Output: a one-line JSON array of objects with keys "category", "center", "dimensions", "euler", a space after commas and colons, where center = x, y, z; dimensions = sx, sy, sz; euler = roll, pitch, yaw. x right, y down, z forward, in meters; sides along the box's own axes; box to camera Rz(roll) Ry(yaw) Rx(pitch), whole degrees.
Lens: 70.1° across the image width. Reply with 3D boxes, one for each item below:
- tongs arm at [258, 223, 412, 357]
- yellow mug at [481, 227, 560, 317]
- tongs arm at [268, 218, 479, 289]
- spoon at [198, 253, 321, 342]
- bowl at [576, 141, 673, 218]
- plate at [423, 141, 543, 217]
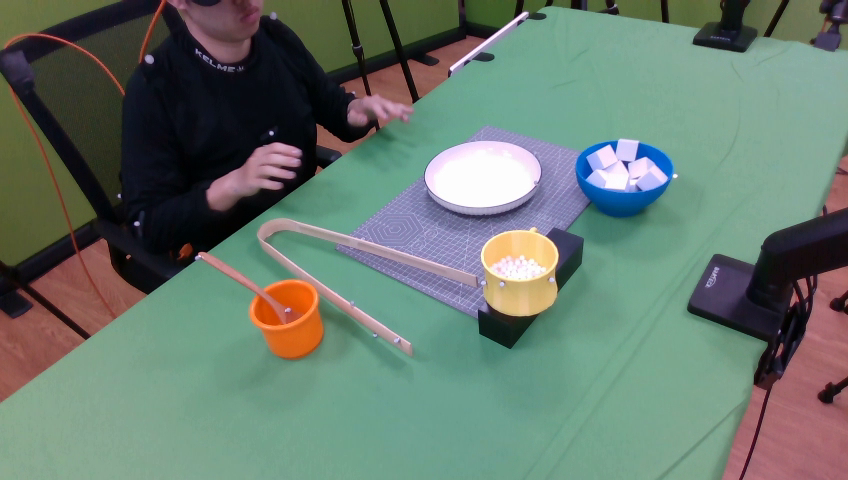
[{"category": "tongs arm", "center": [-0.141, 0.063, 0.905], "dimensions": [0.381, 0.026, 0.051], "euler": [27, 52, 35]}, {"category": "yellow mug", "center": [0.132, 0.032, 0.801], "dimensions": [0.099, 0.064, 0.131], "euler": [11, 43, 20]}, {"category": "tongs arm", "center": [-0.090, 0.018, 0.952], "dimensions": [0.385, 0.028, 0.028], "euler": [15, 50, 26]}, {"category": "spoon", "center": [-0.220, 0.075, 0.814], "dimensions": [0.021, 0.194, 0.041], "euler": [-37, 18, 39]}, {"category": "bowl", "center": [0.321, -0.089, 0.984], "dimensions": [0.151, 0.077, 0.150], "euler": [-4, 40, 4]}, {"category": "plate", "center": [0.103, -0.103, 1.059], "dimensions": [0.207, 0.039, 0.206], "euler": [-4, 40, 4]}]
